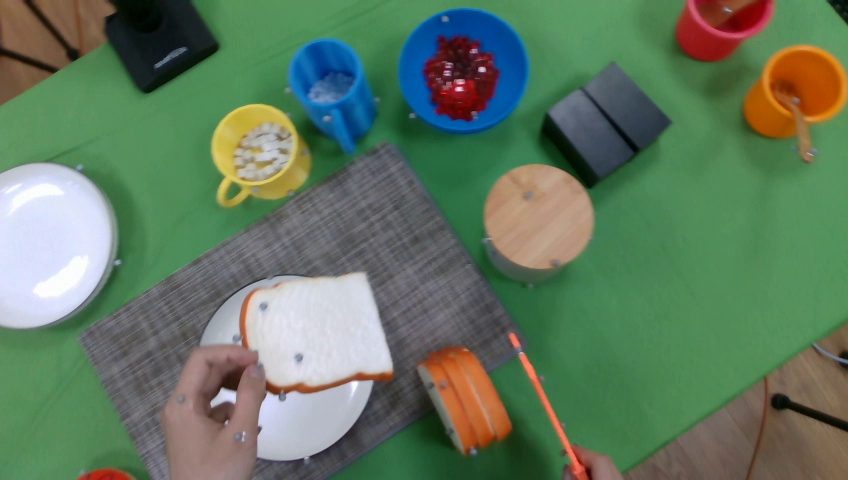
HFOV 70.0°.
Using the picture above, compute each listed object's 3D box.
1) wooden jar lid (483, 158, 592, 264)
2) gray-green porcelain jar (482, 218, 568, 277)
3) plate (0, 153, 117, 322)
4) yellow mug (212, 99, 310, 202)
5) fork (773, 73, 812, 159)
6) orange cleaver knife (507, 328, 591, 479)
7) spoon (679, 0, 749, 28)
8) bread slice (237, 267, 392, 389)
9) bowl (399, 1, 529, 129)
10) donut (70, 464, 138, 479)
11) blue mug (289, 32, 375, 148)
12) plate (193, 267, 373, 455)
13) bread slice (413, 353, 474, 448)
[{"bbox_3d":[0.113,-0.028,0.607,0.108,0.021,0.108,0,80,1],"label":"wooden jar lid"},{"bbox_3d":[0.118,-0.016,0.668,0.106,0.127,0.105,0,79,3],"label":"gray-green porcelain jar"},{"bbox_3d":[-0.474,-0.002,0.743,0.207,0.039,0.207,0,80,3],"label":"plate"},{"bbox_3d":[-0.204,-0.099,0.731,0.099,0.064,0.130,35,85,9],"label":"yellow mug"},{"bbox_3d":[0.404,-0.140,0.662,0.028,0.019,0.206,30,39,1],"label":"fork"},{"bbox_3d":[0.133,0.184,0.604,0.012,0.077,0.212,-27,100,2],"label":"orange cleaver knife"},{"bbox_3d":[0.390,-0.282,0.689,0.192,0.022,0.041,-4,70,48],"label":"spoon"},{"bbox_3d":[-0.095,0.077,0.532,0.132,0.019,0.104,-5,68,-36],"label":"bread slice"},{"bbox_3d":[0.048,-0.196,0.728,0.151,0.077,0.151,-1,80,3],"label":"bowl"},{"bbox_3d":[-0.363,0.303,0.681,0.099,0.048,0.098,0,79,1],"label":"donut"},{"bbox_3d":[-0.102,-0.167,0.718,0.082,0.106,0.116,-13,79,1],"label":"blue mug"},{"bbox_3d":[-0.158,0.137,0.698,0.209,0.038,0.208,-1,80,3],"label":"plate"},{"bbox_3d":[0.020,0.165,0.638,0.018,0.135,0.106,-25,77,-10],"label":"bread slice"}]
